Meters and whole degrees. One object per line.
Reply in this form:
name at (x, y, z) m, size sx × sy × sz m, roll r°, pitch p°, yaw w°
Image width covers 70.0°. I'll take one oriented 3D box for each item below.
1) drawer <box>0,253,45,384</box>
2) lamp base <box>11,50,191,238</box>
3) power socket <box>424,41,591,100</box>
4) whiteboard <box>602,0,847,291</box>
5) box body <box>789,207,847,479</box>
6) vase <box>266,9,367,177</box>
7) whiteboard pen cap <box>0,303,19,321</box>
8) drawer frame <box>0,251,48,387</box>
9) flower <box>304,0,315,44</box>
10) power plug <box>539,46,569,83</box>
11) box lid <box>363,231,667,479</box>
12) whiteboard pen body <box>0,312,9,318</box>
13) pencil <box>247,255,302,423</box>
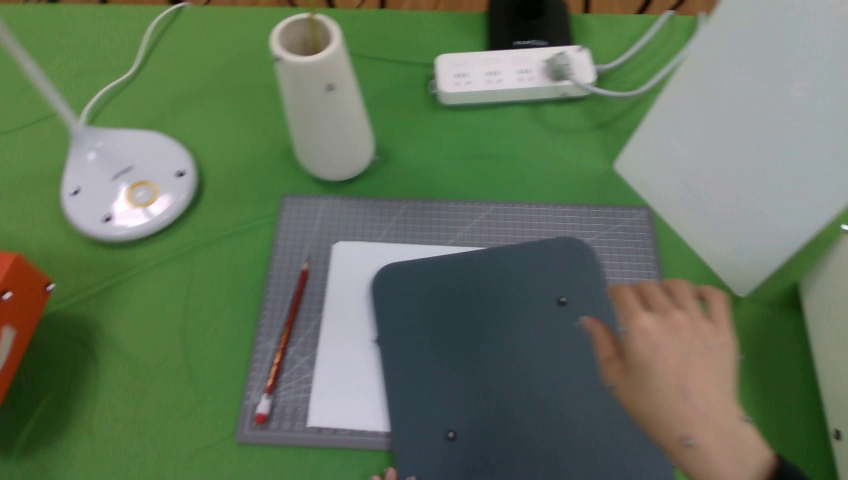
drawer at (-0.506, 0.101, 0.566) m, size 0.211 × 0.074 × 0.193 m, roll 5°, pitch 62°, yaw 3°
lamp base at (-0.379, -0.116, 0.677) m, size 0.178 × 0.182 × 0.160 m, roll 31°, pitch 66°, yaw 20°
power socket at (0.114, -0.229, 0.818) m, size 0.227 × 0.033 × 0.071 m, roll -3°, pitch 62°, yaw -2°
whiteboard at (0.377, -0.132, 0.643) m, size 0.144 × 0.307 × 0.215 m, roll -19°, pitch 61°, yaw -31°
box body at (0.508, 0.147, 0.537) m, size 0.254 × 0.161 × 0.361 m, roll 4°, pitch 62°, yaw 3°
vase at (-0.122, -0.159, 0.688) m, size 0.098 × 0.201 × 0.097 m, roll -1°, pitch 61°, yaw 2°
whiteboard pen cap at (-0.426, 0.073, 0.605) m, size 0.033 × 0.018 × 0.018 m, roll -9°, pitch 61°, yaw 4°
drawer frame at (-0.513, 0.103, 0.568) m, size 0.213 × 0.083 × 0.200 m, roll 6°, pitch 62°, yaw 2°
flower at (-0.116, -0.215, 0.624) m, size 0.038 × 0.365 × 0.043 m, roll -9°, pitch 43°, yaw -12°
power plug at (0.167, -0.219, 0.785) m, size 0.035 × 0.053 × 0.072 m, roll 5°, pitch 63°, yaw 4°
box lid at (0.086, 0.163, 0.617) m, size 0.263 × 0.015 × 0.368 m, roll -9°, pitch 63°, yaw -5°
whiteboard pen body at (-0.486, 0.081, 0.601) m, size 0.141 × 0.017 × 0.017 m, roll -6°, pitch 61°, yaw -5°
pencil at (-0.157, 0.100, 0.653) m, size 0.012 × 0.012 × 0.192 m, roll 8°, pitch 60°, yaw 5°
